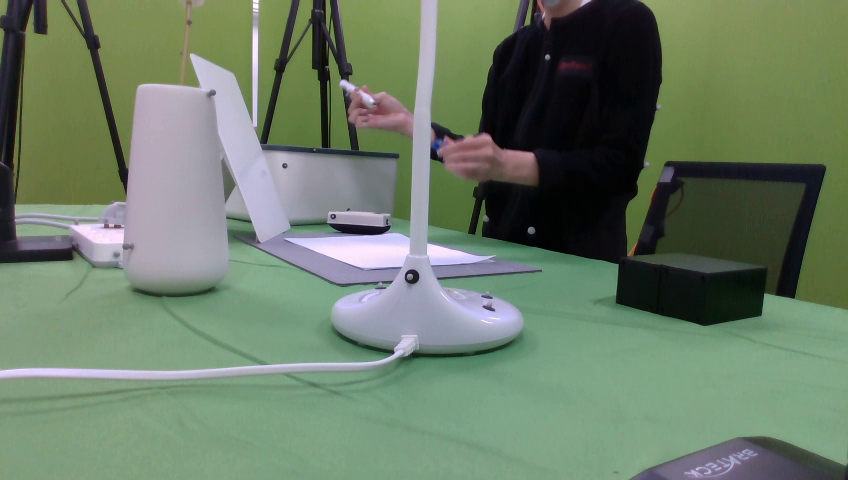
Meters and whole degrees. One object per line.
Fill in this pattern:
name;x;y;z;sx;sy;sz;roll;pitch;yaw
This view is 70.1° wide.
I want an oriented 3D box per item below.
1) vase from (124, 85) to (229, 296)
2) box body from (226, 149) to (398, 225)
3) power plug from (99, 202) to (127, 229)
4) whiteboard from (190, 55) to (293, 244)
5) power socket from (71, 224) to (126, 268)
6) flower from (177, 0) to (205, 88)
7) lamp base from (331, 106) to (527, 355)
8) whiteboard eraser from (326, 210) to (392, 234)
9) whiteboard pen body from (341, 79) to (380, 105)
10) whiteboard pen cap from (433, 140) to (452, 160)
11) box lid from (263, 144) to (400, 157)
vase;-0.244;-0.047;0.598;0.098;0.200;0.098;3;8;0
box body;-0.265;-0.129;1.380;0.253;0.160;0.366;8;9;39
power plug;-0.415;-0.026;0.848;0.073;0.052;0.035;6;5;-28
whiteboard;-0.362;-0.129;1.029;0.144;0.305;0.217;-18;7;3
power socket;-0.409;0.004;0.793;0.072;0.032;0.225;-2;8;-37
flower;-0.243;-0.131;0.609;0.044;0.361;0.038;-5;-12;11
lamp base;0.006;-0.012;0.478;0.161;0.180;0.179;2;10;2
whiteboard eraser;-0.121;-0.033;1.131;0.112;0.042;0.056;4;8;13
whiteboard pen body;-0.119;-0.278;1.142;0.017;0.017;0.140;-3;30;-37
whiteboard pen cap;0.028;-0.142;0.953;0.033;0.018;0.018;51;29;19
box lid;-0.263;-0.203;1.369;0.262;0.015;0.373;9;10;39
